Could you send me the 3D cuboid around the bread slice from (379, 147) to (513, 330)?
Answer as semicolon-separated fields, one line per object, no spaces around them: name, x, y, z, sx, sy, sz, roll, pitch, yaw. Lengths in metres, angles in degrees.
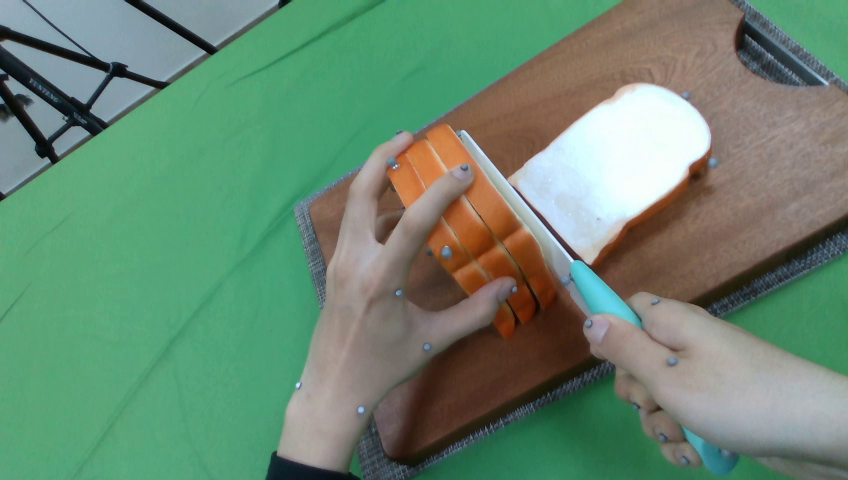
bread slice;0.014;-0.006;0.414;0.018;0.136;0.106;-34;51;6

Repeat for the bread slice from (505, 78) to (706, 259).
bread slice;0.138;-0.058;0.445;0.131;0.019;0.103;-41;51;7

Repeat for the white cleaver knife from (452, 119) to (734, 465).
white cleaver knife;0.092;0.015;0.391;0.021;0.066;0.283;-31;54;0
